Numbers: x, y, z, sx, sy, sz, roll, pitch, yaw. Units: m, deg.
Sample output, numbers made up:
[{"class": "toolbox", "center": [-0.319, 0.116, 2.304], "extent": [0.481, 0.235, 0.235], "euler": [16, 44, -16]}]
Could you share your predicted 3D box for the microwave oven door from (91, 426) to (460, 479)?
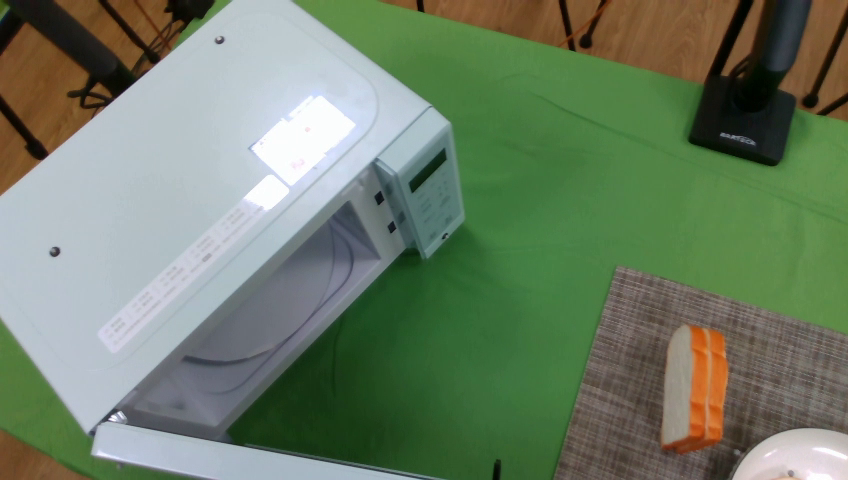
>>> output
[{"class": "microwave oven door", "center": [-0.096, 0.231, 0.595], "extent": [0.355, 0.246, 0.039], "euler": [6, 69, 9]}]

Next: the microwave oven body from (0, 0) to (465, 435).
[{"class": "microwave oven body", "center": [-0.218, -0.023, 0.717], "extent": [0.324, 0.262, 0.441], "euler": [41, 79, 19]}]

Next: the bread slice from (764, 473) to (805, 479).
[{"class": "bread slice", "center": [0.393, 0.313, 0.624], "extent": [0.107, 0.018, 0.133], "euler": [-41, 67, -13]}]

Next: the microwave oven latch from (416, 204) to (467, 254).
[{"class": "microwave oven latch", "center": [0.022, -0.020, 0.791], "extent": [0.079, 0.030, 0.030], "euler": [-44, 70, -10]}]

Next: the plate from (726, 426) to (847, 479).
[{"class": "plate", "center": [0.414, 0.302, 0.629], "extent": [0.207, 0.039, 0.206], "euler": [-2, 68, 6]}]
